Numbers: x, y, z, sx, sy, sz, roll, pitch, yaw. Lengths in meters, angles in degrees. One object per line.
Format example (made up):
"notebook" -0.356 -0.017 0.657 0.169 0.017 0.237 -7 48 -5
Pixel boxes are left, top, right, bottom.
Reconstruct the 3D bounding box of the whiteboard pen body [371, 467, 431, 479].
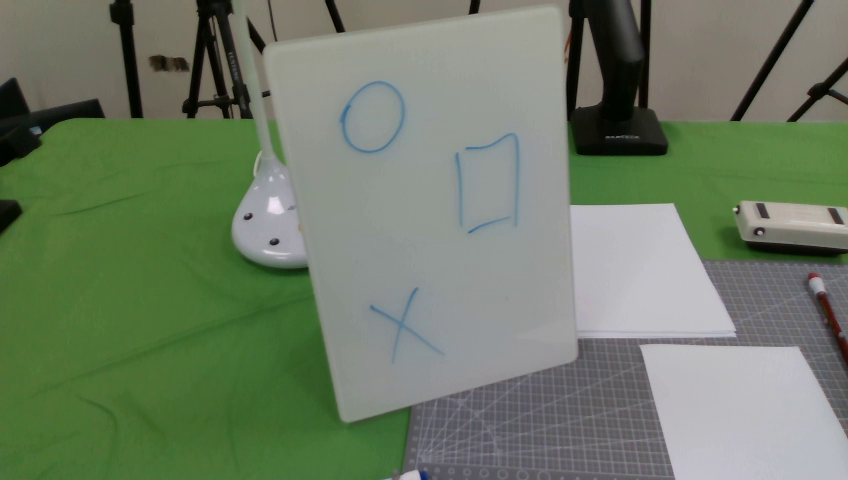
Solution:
"whiteboard pen body" -0.063 0.190 0.442 0.141 0.017 0.017 -10 39 -11

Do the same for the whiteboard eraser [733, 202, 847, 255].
"whiteboard eraser" 0.400 -0.012 0.656 0.112 0.042 0.055 6 40 10

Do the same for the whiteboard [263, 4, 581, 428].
"whiteboard" 0.002 -0.028 0.534 0.217 0.307 0.142 -12 20 -10

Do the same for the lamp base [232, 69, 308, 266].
"lamp base" -0.155 -0.089 0.673 0.160 0.182 0.177 -31 44 -31

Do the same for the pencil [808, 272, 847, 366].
"pencil" 0.377 0.098 0.541 0.012 0.012 0.192 5 41 10
